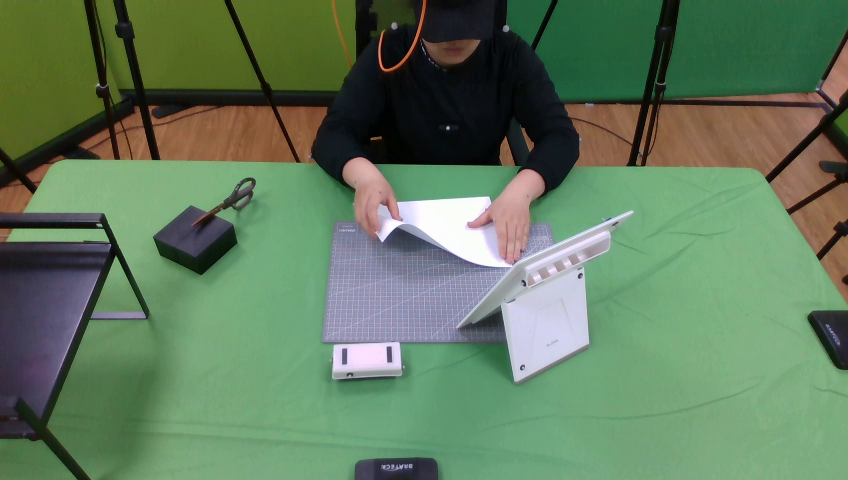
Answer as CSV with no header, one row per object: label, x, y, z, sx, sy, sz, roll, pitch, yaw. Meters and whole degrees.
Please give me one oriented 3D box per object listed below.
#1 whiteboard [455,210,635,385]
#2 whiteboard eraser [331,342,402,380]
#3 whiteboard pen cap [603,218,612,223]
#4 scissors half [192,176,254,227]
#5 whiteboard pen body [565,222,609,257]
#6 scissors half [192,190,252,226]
whiteboard,0.211,0.111,0.955,0.217,0.306,0.143,-21,72,-23
whiteboard eraser,-0.094,0.198,0.986,0.113,0.042,0.055,-2,44,-6
whiteboard pen cap,0.378,-0.031,1.255,0.033,0.018,0.018,-33,57,-29
scissors half,-0.388,-0.075,1.174,0.013,0.040,0.174,29,48,7
whiteboard pen body,0.334,-0.004,1.228,0.141,0.017,0.017,-33,56,-29
scissors half,-0.393,-0.060,1.187,0.013,0.040,0.175,25,29,11
